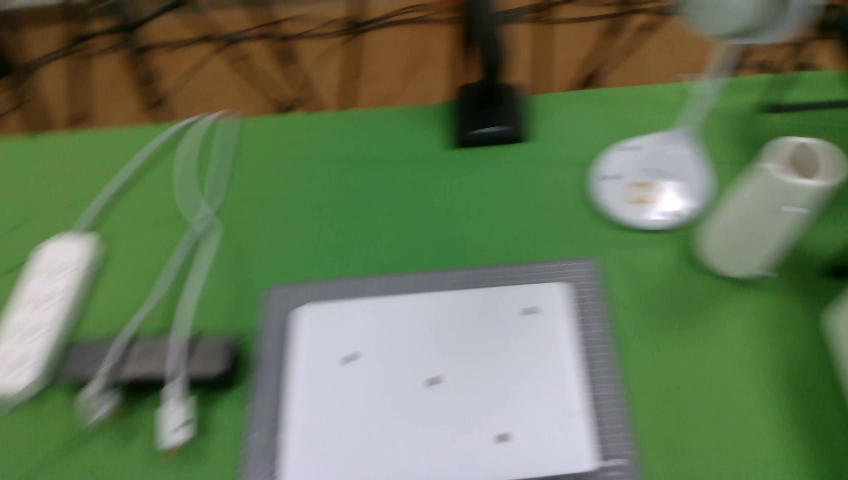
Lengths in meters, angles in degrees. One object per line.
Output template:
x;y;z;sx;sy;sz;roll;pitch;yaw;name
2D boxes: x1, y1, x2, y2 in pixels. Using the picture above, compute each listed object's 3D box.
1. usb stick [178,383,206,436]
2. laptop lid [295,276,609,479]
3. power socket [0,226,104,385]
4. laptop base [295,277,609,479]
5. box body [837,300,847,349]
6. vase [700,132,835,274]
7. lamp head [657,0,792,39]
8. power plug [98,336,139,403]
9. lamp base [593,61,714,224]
-0.268;0.196;0.700;0.027;0.021;0.059;-7;83;33;usb stick
0.025;0.159;0.723;0.357;0.013;0.239;-3;61;1;laptop lid
-0.489;0.077;0.798;0.072;0.033;0.224;1;58;2;power socket
0.025;0.163;0.734;0.354;0.023;0.233;-4;62;0;laptop base
0.629;0.188;0.610;0.254;0.162;0.360;-2;59;2;box body
0.411;-0.041;0.736;0.098;0.202;0.097;-2;57;3;vase
0.278;-0.255;0.532;0.112;0.113;0.122;22;80;15;lamp head
-0.349;0.158;0.713;0.035;0.053;0.072;26;70;39;power plug
0.326;-0.140;0.811;0.160;0.182;0.178;25;61;17;lamp base
